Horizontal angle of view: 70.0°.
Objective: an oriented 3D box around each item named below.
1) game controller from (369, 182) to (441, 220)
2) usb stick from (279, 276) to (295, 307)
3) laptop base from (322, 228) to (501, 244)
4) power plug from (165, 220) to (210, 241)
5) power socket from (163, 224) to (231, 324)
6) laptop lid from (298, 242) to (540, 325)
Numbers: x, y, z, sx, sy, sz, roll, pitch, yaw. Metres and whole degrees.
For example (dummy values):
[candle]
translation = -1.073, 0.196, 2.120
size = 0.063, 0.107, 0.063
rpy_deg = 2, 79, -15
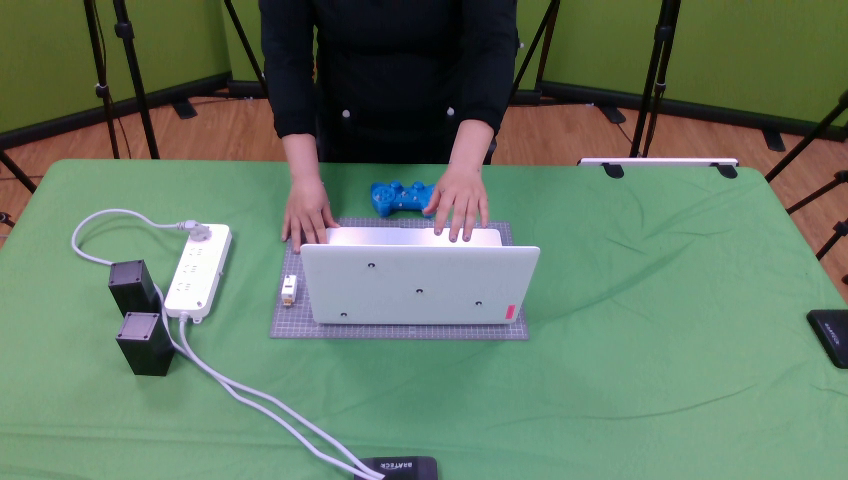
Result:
[game controller]
translation = -0.039, -0.091, 1.268
size = 0.155, 0.052, 0.096
rpy_deg = 2, 50, -2
[usb stick]
translation = -0.244, 0.093, 1.080
size = 0.021, 0.027, 0.059
rpy_deg = 2, 46, -3
[laptop base]
translation = -0.020, 0.063, 1.136
size = 0.355, 0.023, 0.234
rpy_deg = 1, 42, -4
[power plug]
translation = -0.440, -0.015, 1.143
size = 0.072, 0.053, 0.035
rpy_deg = 6, 46, 9
[power socket]
translation = -0.411, 0.052, 1.107
size = 0.072, 0.033, 0.225
rpy_deg = 3, 46, -3
[laptop lid]
translation = -0.010, 0.076, 0.958
size = 0.357, 0.243, 0.013
rpy_deg = 1, 53, -5
